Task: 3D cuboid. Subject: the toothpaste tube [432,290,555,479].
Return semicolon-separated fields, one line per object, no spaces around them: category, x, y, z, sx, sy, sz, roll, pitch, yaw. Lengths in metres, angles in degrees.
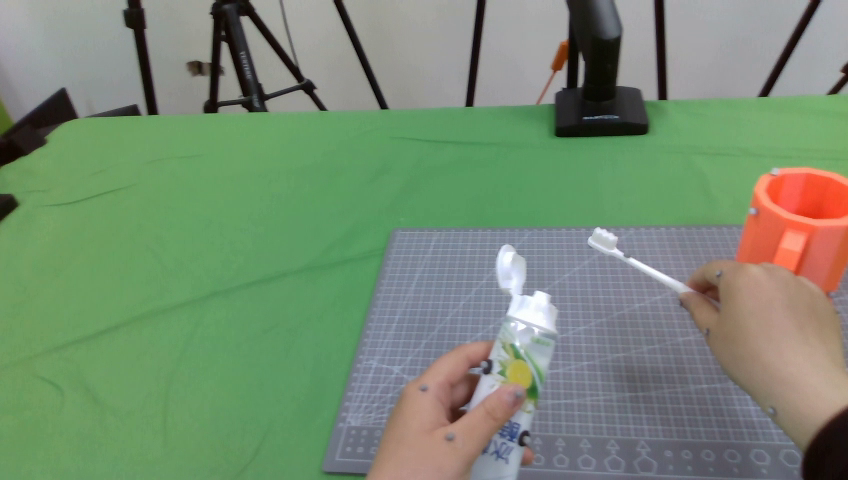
toothpaste tube;0.046;0.109;0.386;0.055;0.035;0.164;18;84;16

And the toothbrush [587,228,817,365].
toothbrush;0.205;0.039;0.459;0.180;0.017;0.014;33;39;26

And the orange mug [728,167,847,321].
orange mug;0.311;0.008;0.517;0.083;0.102;0.126;20;42;31

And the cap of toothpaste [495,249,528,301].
cap of toothpaste;0.060;0.023;0.407;0.011;0.037;0.037;-6;33;34
